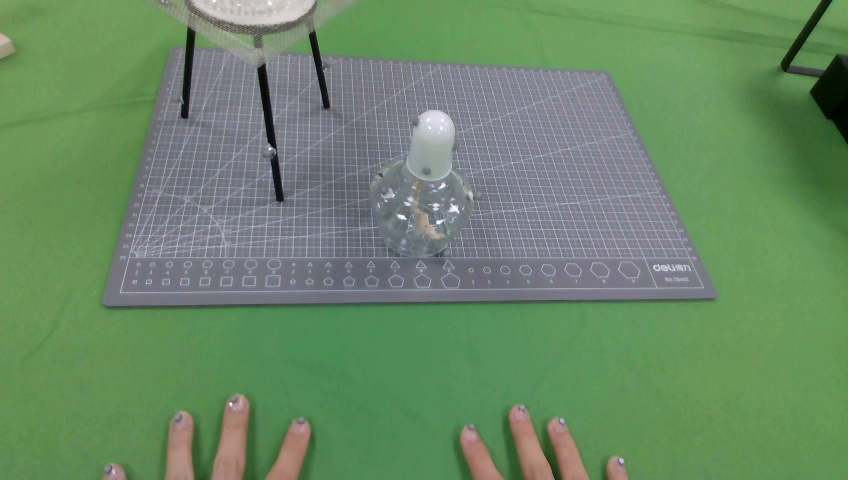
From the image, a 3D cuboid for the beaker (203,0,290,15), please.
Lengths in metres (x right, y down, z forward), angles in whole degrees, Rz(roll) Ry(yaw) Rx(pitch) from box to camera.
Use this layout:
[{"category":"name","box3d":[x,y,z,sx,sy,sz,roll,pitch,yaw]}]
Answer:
[{"category":"beaker","box3d":[-0.117,-0.201,0.380,0.073,0.101,0.084,32,53,15]}]

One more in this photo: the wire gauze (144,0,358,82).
[{"category":"wire gauze","box3d":[-0.120,-0.170,0.418,0.124,0.011,0.121,33,55,12]}]

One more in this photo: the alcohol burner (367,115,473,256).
[{"category":"alcohol burner","box3d":[0.000,-0.044,0.434,0.078,0.120,0.077,6,49,-7]}]

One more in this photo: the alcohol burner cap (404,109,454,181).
[{"category":"alcohol burner cap","box3d":[0.005,-0.065,0.405,0.034,0.048,0.033,3,55,-5]}]

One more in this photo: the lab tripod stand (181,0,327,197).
[{"category":"lab tripod stand","box3d":[-0.127,-0.128,0.468,0.149,0.132,0.147,6,50,-7]}]

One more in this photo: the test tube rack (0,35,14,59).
[{"category":"test tube rack","box3d":[-0.456,-0.141,0.452,0.066,0.086,0.241,31,52,15]}]
